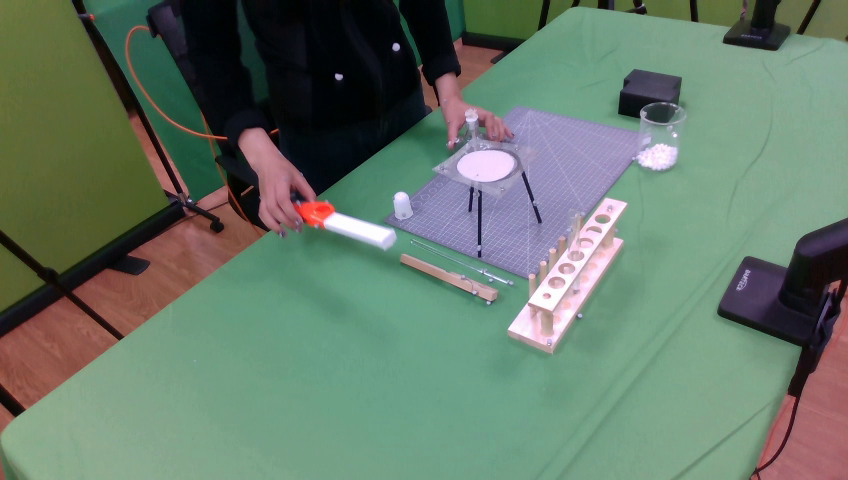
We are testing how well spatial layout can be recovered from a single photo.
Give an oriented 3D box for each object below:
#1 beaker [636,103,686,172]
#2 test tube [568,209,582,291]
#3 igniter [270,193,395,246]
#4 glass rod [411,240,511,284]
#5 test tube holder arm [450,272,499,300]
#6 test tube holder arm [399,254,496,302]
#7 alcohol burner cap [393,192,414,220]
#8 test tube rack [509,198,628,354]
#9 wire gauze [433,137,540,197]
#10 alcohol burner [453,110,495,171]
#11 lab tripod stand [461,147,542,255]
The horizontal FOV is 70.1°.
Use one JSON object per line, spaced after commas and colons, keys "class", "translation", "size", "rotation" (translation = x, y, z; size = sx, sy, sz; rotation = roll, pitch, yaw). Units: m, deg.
{"class": "beaker", "translation": [0.413, -0.177, 1.055], "size": [0.084, 0.101, 0.073], "rotation": [-28, 44, -21]}
{"class": "test tube", "translation": [0.200, 0.017, 0.799], "size": [0.017, 0.151, 0.017], "rotation": [-8, 45, 8]}
{"class": "igniter", "translation": [-0.152, -0.036, 0.938], "size": [0.274, 0.025, 0.057], "rotation": [17, 47, 39]}
{"class": "glass rod", "translation": [0.053, 0.033, 0.946], "size": [0.198, 0.008, 0.008], "rotation": [22, 50, 36]}
{"class": "test tube holder arm", "translation": [0.071, 0.068, 0.895], "size": [0.087, 0.015, 0.010], "rotation": [21, 15, 33]}
{"class": "test tube holder arm", "translation": [0.032, 0.055, 0.914], "size": [0.177, 0.015, 0.013], "rotation": [21, 15, 32]}
{"class": "alcohol burner cap", "translation": [-0.038, -0.061, 1.043], "size": [0.034, 0.048, 0.033], "rotation": [-6, 41, 5]}
{"class": "test tube rack", "translation": [0.206, 0.039, 0.850], "size": [0.066, 0.085, 0.243], "rotation": [20, 48, 31]}
{"class": "wire gauze", "translation": [0.094, -0.116, 0.907], "size": [0.124, 0.011, 0.122], "rotation": [21, 47, 30]}
{"class": "alcohol burner", "translation": [0.091, -0.187, 1.112], "size": [0.078, 0.119, 0.077], "rotation": [-4, 41, 4]}
{"class": "lab tripod stand", "translation": [0.114, -0.069, 0.953], "size": [0.148, 0.132, 0.147], "rotation": [-5, 38, 4]}
